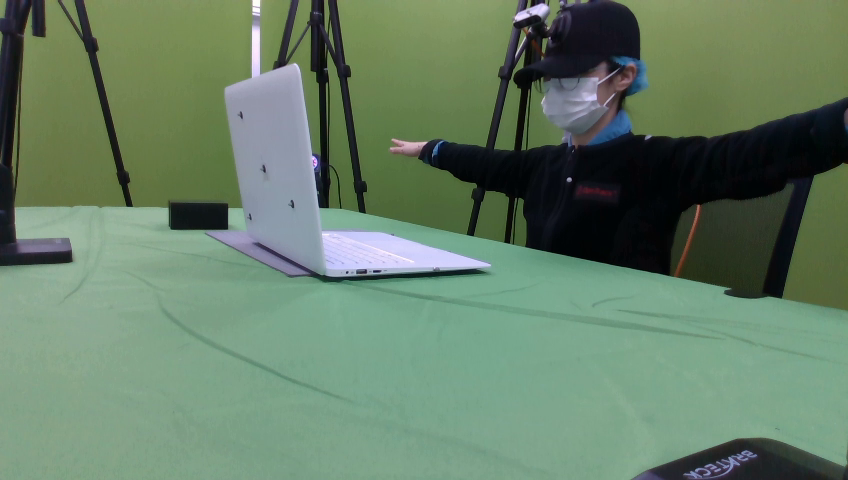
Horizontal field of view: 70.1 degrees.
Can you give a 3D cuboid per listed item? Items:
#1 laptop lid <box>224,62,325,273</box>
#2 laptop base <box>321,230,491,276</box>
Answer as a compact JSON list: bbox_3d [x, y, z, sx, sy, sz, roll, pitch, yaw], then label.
[{"bbox_3d":[-0.210,-0.097,0.804,0.013,0.241,0.355,-12,15,-28],"label":"laptop lid"},{"bbox_3d":[-0.095,0.015,0.888,0.237,0.023,0.352,2,7,-30],"label":"laptop base"}]
